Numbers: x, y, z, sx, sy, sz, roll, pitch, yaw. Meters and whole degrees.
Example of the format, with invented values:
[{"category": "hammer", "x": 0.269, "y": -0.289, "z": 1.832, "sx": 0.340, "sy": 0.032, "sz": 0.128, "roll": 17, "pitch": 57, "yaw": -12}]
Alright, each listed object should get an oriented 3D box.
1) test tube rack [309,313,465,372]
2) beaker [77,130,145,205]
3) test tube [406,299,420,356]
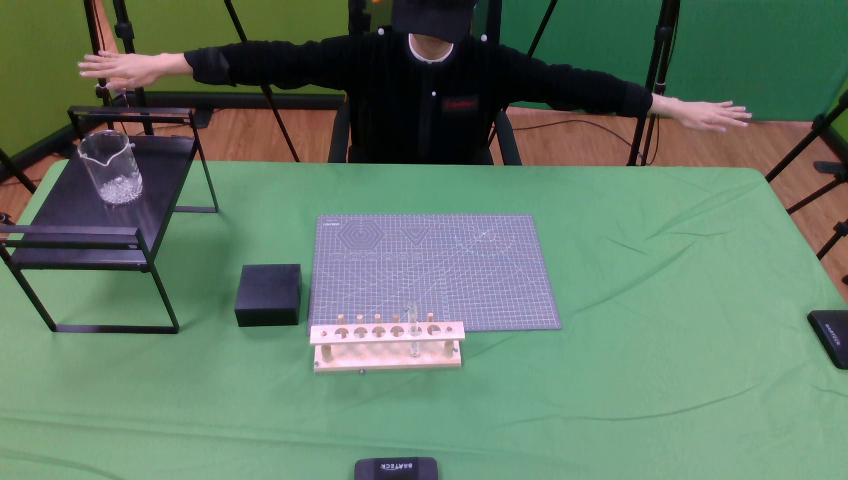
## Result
[{"category": "test tube rack", "x": -0.059, "y": 0.161, "z": 0.990, "sx": 0.242, "sy": 0.085, "sz": 0.066, "roll": -1, "pitch": 46, "yaw": -5}, {"category": "beaker", "x": -0.493, "y": -0.111, "z": 0.965, "sx": 0.074, "sy": 0.101, "sz": 0.083, "roll": -14, "pitch": 49, "yaw": -16}, {"category": "test tube", "x": -0.017, "y": 0.140, "z": 0.944, "sx": 0.017, "sy": 0.151, "sz": 0.017, "roll": -1, "pitch": 50, "yaw": 1}]
